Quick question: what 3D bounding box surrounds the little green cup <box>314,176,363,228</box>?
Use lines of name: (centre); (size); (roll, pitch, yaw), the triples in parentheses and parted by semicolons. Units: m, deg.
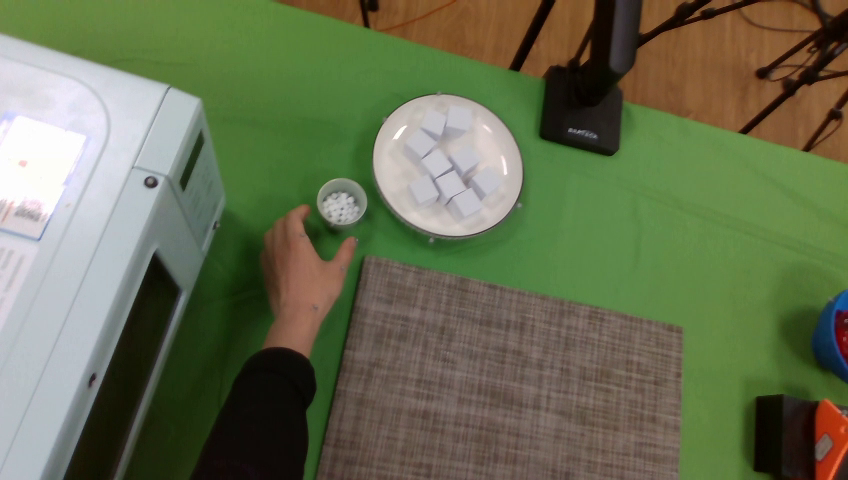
little green cup: (-0.109, -0.045, 0.762); (0.062, 0.039, 0.061); (4, 74, -13)

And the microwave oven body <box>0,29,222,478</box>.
microwave oven body: (-0.417, 0.061, 0.535); (0.327, 0.261, 0.439); (16, 71, -8)

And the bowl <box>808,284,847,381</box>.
bowl: (0.604, 0.138, 0.854); (0.152, 0.077, 0.150); (4, 73, -12)

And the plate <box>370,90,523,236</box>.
plate: (0.029, -0.101, 0.813); (0.208, 0.039, 0.206); (4, 73, -12)

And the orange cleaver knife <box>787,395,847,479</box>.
orange cleaver knife: (0.495, 0.305, 0.776); (0.012, 0.077, 0.211); (14, 94, -4)

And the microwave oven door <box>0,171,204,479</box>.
microwave oven door: (-0.286, 0.140, 0.537); (0.039, 0.244, 0.354); (16, 70, -7)

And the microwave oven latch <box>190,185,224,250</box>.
microwave oven latch: (-0.257, -0.031, 0.704); (0.030, 0.029, 0.078); (17, 71, -8)
